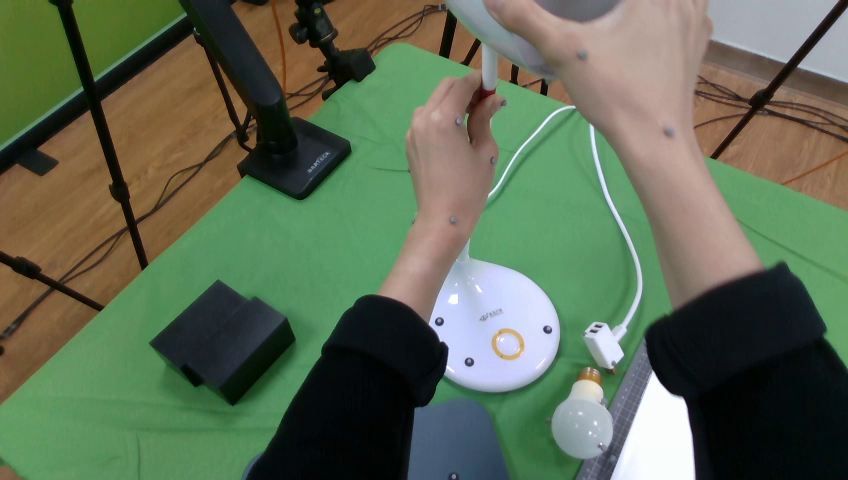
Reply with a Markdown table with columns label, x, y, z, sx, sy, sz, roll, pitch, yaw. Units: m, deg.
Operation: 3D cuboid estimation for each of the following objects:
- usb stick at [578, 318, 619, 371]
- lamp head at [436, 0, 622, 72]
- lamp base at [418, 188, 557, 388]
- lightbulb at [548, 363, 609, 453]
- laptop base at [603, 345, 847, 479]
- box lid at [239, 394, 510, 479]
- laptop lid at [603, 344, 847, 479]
| label | x | y | z | sx | sy | sz | roll | pitch | yaw |
| --- | --- | --- | --- | --- | --- | --- | --- | --- | --- |
| usb stick | 0.195 | 0.117 | 0.666 | 0.027 | 0.059 | 0.021 | -37 | 18 | -27 |
| lamp head | 0.053 | -0.174 | 0.388 | 0.112 | 0.113 | 0.121 | -33 | 40 | -21 |
| lamp base | 0.063 | 0.042 | 0.642 | 0.160 | 0.182 | 0.177 | -31 | 56 | -19 |
| lightbulb | 0.163 | 0.170 | 0.629 | 0.059 | 0.060 | 0.107 | 14 | 40 | 12 |
| laptop base | 0.354 | 0.268 | 0.572 | 0.352 | 0.023 | 0.234 | 24 | 61 | 17 |
| box lid | -0.020 | 0.331 | 0.540 | 0.263 | 0.015 | 0.367 | -13 | 56 | -8 |
| laptop lid | 0.353 | 0.262 | 0.561 | 0.354 | 0.013 | 0.241 | 25 | 61 | 18 |
